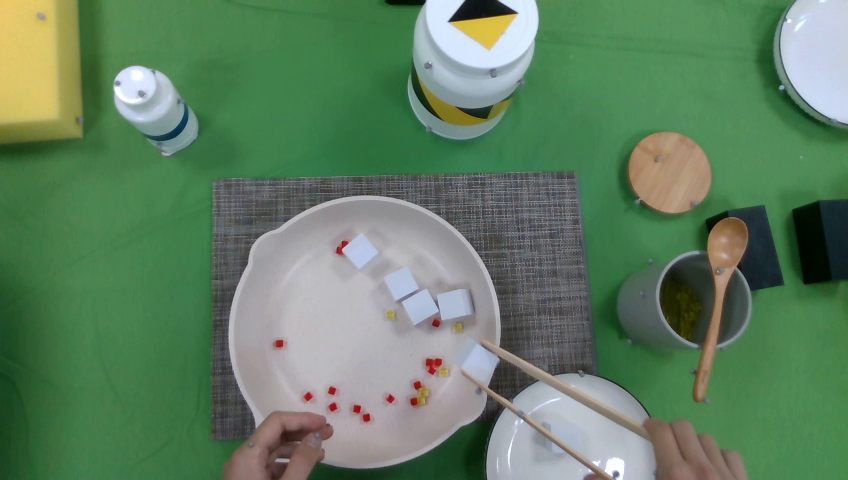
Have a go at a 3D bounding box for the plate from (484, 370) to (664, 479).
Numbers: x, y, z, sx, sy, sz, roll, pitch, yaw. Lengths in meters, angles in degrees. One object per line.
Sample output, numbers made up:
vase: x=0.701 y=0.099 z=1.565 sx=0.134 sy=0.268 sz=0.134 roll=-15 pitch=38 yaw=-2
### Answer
plate: x=0.169 y=0.254 z=0.697 sx=0.208 sy=0.039 sz=0.207 roll=1 pitch=82 yaw=-5

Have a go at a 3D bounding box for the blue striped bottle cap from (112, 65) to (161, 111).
blue striped bottle cap: x=-0.299 y=-0.158 z=0.630 sx=0.044 sy=0.020 sz=0.044 roll=1 pitch=82 yaw=-5

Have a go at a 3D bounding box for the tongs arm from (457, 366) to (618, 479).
tongs arm: x=0.193 y=0.206 z=0.527 sx=0.381 sy=0.027 sz=0.050 roll=33 pitch=72 yaw=26

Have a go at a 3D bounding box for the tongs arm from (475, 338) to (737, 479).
tongs arm: x=0.206 y=0.188 z=0.534 sx=0.384 sy=0.028 sz=0.028 roll=28 pitch=67 yaw=25

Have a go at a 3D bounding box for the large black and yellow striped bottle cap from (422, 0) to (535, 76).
large black and yellow striped bottle cap: x=0.055 y=-0.222 z=0.610 sx=0.115 sy=0.019 sz=0.114 roll=1 pitch=82 yaw=-5

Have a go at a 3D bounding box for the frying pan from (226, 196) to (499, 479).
frying pan: x=-0.127 y=0.174 z=0.647 sx=0.306 sy=0.103 sz=0.486 roll=39 pitch=71 yaw=3

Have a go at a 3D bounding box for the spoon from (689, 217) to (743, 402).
spoon: x=0.296 y=0.071 z=0.626 sx=0.042 sy=0.021 sz=0.193 roll=14 pitch=83 yaw=-7

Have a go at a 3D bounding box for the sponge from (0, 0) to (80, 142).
sponge: x=-0.480 y=-0.223 z=0.706 sx=0.118 sy=0.061 sz=0.206 roll=-7 pitch=82 yaw=-7

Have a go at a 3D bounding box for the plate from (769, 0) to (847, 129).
plate: x=0.563 y=-0.246 z=0.821 sx=0.209 sy=0.038 sz=0.208 roll=1 pitch=80 yaw=-5

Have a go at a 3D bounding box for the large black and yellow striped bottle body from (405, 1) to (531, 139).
large black and yellow striped bottle body: x=0.047 y=-0.206 z=0.692 sx=0.131 sy=0.184 sz=0.130 roll=1 pitch=79 yaw=-5

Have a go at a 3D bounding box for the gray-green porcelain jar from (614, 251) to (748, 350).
gray-green porcelain jar: x=0.285 y=0.074 z=0.696 sx=0.106 sy=0.127 sz=0.105 roll=1 pitch=80 yaw=-5

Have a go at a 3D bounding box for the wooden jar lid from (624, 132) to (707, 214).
wooden jar lid: x=0.308 y=-0.085 z=0.779 sx=0.108 sy=0.021 sz=0.108 roll=1 pitch=82 yaw=-5

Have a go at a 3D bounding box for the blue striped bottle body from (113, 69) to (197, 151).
blue striped bottle body: x=-0.303 y=-0.148 z=0.680 sx=0.063 sy=0.121 sz=0.063 roll=1 pitch=79 yaw=-5
